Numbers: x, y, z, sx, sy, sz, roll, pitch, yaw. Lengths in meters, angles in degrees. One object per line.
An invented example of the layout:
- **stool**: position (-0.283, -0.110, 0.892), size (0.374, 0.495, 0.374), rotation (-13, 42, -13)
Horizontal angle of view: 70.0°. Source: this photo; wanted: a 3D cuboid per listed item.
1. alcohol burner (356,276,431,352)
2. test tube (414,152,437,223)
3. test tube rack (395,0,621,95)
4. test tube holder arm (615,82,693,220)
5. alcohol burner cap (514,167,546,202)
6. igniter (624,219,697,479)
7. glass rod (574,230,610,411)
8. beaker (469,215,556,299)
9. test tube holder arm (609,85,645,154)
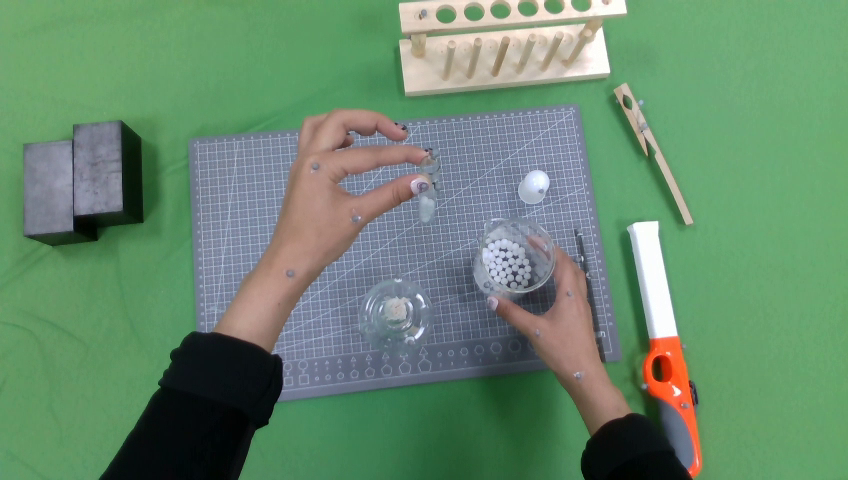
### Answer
- **alcohol burner**: position (-0.031, 0.071, 0.603), size (0.078, 0.119, 0.077), rotation (0, 76, -1)
- **test tube**: position (0.000, -0.040, 0.512), size (0.017, 0.151, 0.017), rotation (0, 77, -1)
- **test tube rack**: position (0.091, -0.224, 0.683), size (0.242, 0.085, 0.066), rotation (-6, 79, -4)
- **test tube holder arm**: position (0.265, -0.104, 0.700), size (0.013, 0.015, 0.177), rotation (-31, 80, 27)
- **alcohol burner cap**: position (0.120, -0.064, 0.672), size (0.034, 0.048, 0.033), rotation (0, 79, -2)
- **igniter**: position (0.255, 0.112, 0.655), size (0.057, 0.025, 0.275), rotation (-3, 79, -13)
- **glass rod**: position (0.183, 0.086, 0.664), size (0.008, 0.008, 0.199), rotation (-7, 80, -4)
- **beaker**: position (0.084, 0.020, 0.626), size (0.074, 0.100, 0.083), rotation (-38, 82, -9)
- **test tube holder arm**: position (0.241, -0.141, 0.708), size (0.010, 0.015, 0.087), rotation (-29, 81, 28)
